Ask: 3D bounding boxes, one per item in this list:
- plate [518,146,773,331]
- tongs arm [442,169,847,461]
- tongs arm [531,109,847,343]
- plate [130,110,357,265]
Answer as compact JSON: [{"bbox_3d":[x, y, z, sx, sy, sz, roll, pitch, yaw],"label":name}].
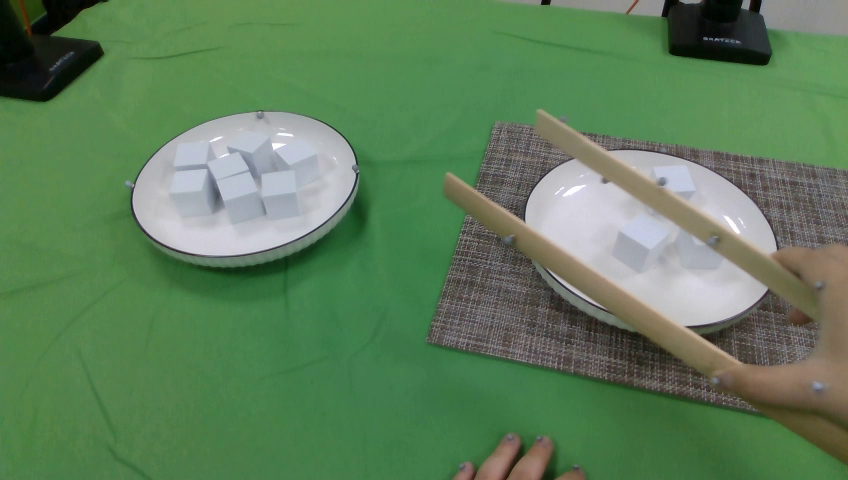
[{"bbox_3d":[0.185,-0.003,0.525,0.208,0.039,0.205,0,48,1],"label":"plate"},{"bbox_3d":[0.159,0.053,0.368,0.384,0.028,0.028,34,55,25],"label":"tongs arm"},{"bbox_3d":[0.201,0.022,0.391,0.051,0.027,0.381,-35,59,-26],"label":"tongs arm"},{"bbox_3d":[-0.166,-0.050,0.581,0.209,0.038,0.207,0,47,1],"label":"plate"}]
